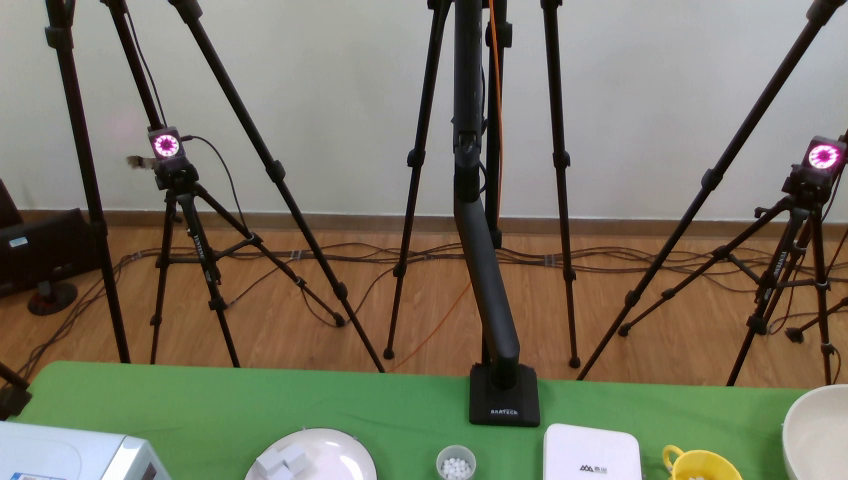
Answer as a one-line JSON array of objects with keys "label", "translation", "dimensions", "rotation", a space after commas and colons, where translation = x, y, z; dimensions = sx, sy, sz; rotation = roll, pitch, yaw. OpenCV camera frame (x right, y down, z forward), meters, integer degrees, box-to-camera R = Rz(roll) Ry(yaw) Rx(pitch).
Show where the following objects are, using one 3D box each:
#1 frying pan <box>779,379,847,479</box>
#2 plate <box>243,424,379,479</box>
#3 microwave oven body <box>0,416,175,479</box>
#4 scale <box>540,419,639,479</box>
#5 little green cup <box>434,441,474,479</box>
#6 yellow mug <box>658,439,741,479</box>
[{"label": "frying pan", "translation": [0.717, 0.394, 0.819], "dimensions": [0.307, 0.103, 0.482], "rotation": [-16, 34, -14]}, {"label": "plate", "translation": [-0.171, 0.380, 0.926], "dimensions": [0.208, 0.039, 0.205], "rotation": [-1, 40, 1]}, {"label": "microwave oven body", "translation": [-0.522, 0.454, 0.677], "dimensions": [0.325, 0.262, 0.438], "rotation": [4, 42, 7]}, {"label": "scale", "translation": [0.253, 0.371, 0.922], "dimensions": [0.148, 0.032, 0.199], "rotation": [4, 41, 9]}, {"label": "little green cup", "translation": [0.047, 0.352, 0.949], "dimensions": [0.061, 0.039, 0.061], "rotation": [-1, 40, 2]}, {"label": "yellow mug", "translation": [0.401, 0.355, 0.908], "dimensions": [0.100, 0.064, 0.129], "rotation": [-20, 43, -19]}]
